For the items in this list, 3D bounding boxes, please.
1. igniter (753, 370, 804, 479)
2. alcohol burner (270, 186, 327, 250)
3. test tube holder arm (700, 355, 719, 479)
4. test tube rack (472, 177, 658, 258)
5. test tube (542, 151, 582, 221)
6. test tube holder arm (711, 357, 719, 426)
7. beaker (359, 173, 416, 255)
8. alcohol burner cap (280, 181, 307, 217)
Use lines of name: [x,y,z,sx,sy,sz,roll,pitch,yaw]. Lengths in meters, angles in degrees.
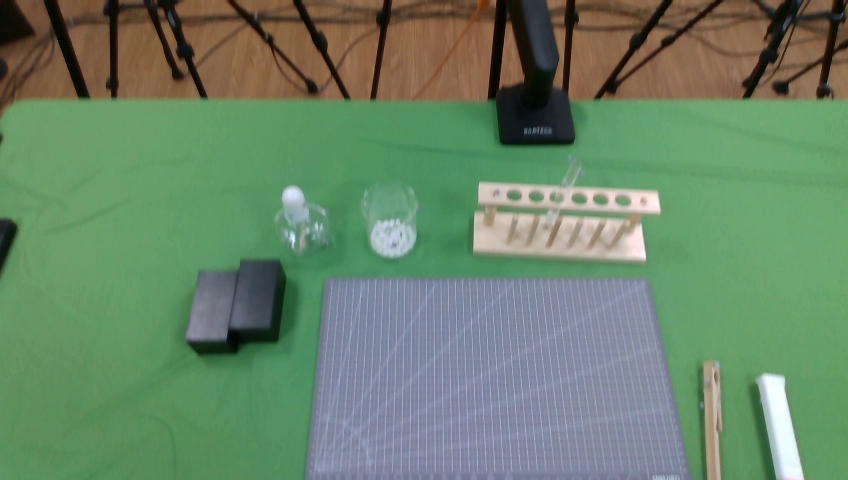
igniter: [0.421,0.285,0.698,0.057,0.025,0.274,10,60,-6]
alcohol burner: [-0.173,-0.037,0.825,0.078,0.120,0.077,1,58,-1]
test tube holder arm: [0.347,0.226,0.735,0.013,0.015,0.177,26,59,-23]
test tube rack: [0.191,-0.030,0.843,0.242,0.086,0.066,3,60,1]
test tube: [0.181,-0.068,0.807,0.017,0.151,0.017,2,61,-3]
test tube holder arm: [0.360,0.190,0.759,0.010,0.015,0.087,27,58,-23]
beaker: [-0.048,-0.029,0.831,0.074,0.101,0.083,3,60,1]
alcohol burner cap: [-0.173,-0.056,0.793,0.034,0.048,0.033,1,53,0]
